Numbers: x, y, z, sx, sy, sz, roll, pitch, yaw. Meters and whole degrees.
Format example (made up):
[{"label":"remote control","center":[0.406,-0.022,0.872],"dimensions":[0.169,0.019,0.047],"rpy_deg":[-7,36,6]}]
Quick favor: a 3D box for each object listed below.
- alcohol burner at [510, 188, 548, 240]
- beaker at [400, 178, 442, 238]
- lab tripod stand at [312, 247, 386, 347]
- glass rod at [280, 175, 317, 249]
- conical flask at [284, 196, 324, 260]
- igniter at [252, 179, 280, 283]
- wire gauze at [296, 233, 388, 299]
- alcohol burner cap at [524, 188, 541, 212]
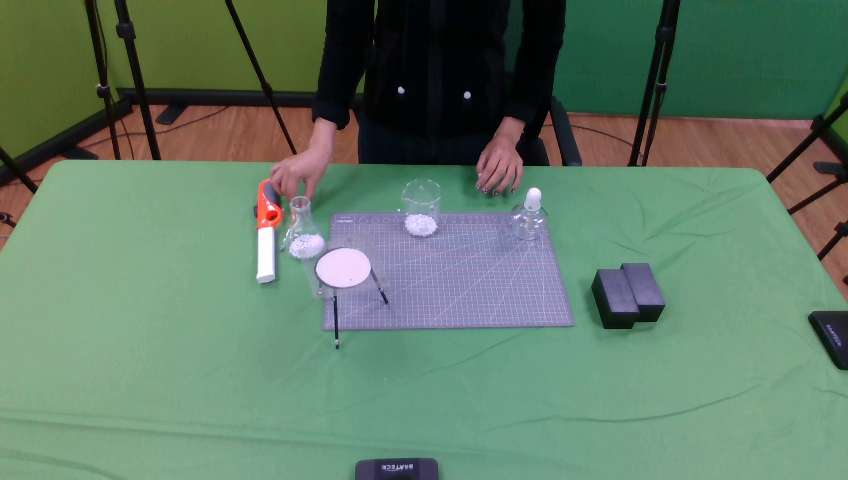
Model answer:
[{"label":"alcohol burner","center":[0.211,-0.057,1.204],"dimensions":[0.078,0.120,0.077],"rpy_deg":[1,47,-1]},{"label":"beaker","center":[-0.009,-0.059,1.200],"dimensions":[0.084,0.101,0.073],"rpy_deg":[-14,48,-17]},{"label":"lab tripod stand","center":[-0.134,0.085,1.028],"dimensions":[0.148,0.132,0.147],"rpy_deg":[1,45,-1]},{"label":"glass rod","center":[-0.253,-0.061,1.231],"dimensions":[0.008,0.008,0.198],"rpy_deg":[12,54,8]},{"label":"conical flask","center":[-0.230,-0.026,1.137],"dimensions":[0.075,0.122,0.075],"rpy_deg":[2,45,-2]},{"label":"igniter","center":[-0.312,-0.027,1.197],"dimensions":[0.057,0.025,0.274],"rpy_deg":[-12,47,-1]},{"label":"wire gauze","center":[-0.133,0.041,0.977],"dimensions":[0.125,0.011,0.120],"rpy_deg":[-12,47,-16]},{"label":"alcohol burner cap","center":[0.212,-0.081,1.177],"dimensions":[0.034,0.048,0.033],"rpy_deg":[-2,54,2]}]
